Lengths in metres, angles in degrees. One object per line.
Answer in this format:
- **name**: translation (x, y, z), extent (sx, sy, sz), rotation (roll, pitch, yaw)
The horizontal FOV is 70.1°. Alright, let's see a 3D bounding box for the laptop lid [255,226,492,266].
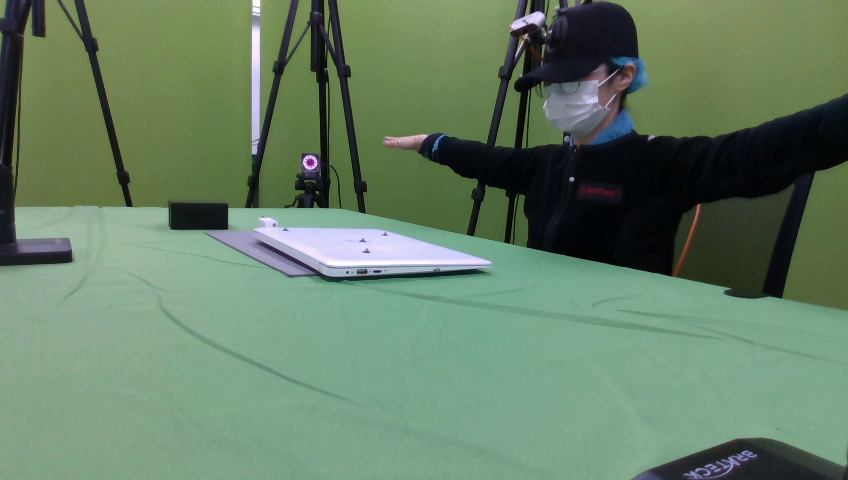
- **laptop lid**: translation (-0.092, 0.003, 0.888), extent (0.243, 0.013, 0.355), rotation (1, 8, -28)

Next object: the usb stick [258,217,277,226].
- **usb stick**: translation (-0.261, -0.022, 1.016), extent (0.021, 0.027, 0.059), rotation (0, 13, -30)

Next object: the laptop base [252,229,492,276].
- **laptop base**: translation (-0.094, 0.015, 0.889), extent (0.237, 0.023, 0.352), rotation (2, 7, -30)
